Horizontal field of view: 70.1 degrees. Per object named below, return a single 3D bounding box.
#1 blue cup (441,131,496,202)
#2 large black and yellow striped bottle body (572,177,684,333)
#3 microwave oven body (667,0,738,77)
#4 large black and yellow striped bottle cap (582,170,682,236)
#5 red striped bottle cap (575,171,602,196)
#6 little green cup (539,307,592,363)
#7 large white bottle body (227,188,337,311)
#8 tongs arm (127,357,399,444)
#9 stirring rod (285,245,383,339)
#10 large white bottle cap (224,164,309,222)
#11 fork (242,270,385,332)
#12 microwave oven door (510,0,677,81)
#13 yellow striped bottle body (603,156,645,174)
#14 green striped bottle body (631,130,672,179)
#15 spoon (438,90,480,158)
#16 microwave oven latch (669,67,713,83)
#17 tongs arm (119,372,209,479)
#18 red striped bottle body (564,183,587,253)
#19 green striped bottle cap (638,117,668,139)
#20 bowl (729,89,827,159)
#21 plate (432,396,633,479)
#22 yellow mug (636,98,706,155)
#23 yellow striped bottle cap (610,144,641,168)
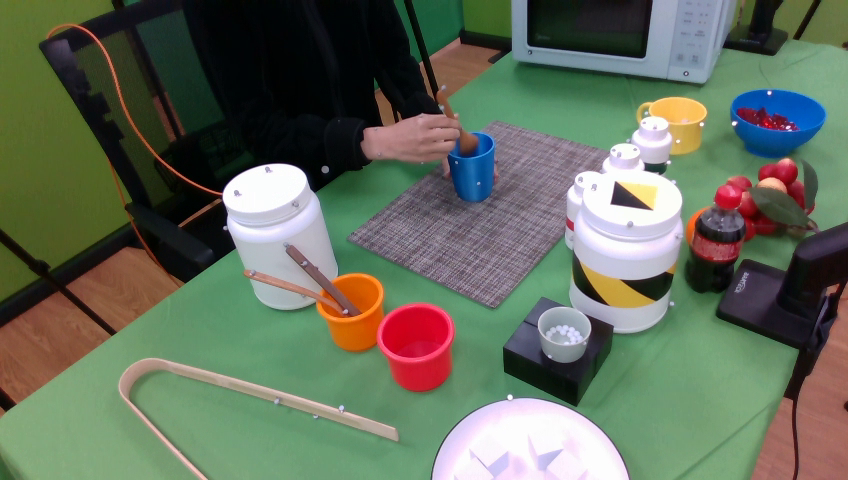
[{"bbox_3d":[0.083,-0.121,1.039,0.092,0.100,0.092,-4,42,4],"label":"blue cup"},{"bbox_3d":[0.262,0.017,0.788,0.131,0.185,0.130,-5,40,4],"label":"large black and yellow striped bottle body"},{"bbox_3d":[0.462,-0.552,1.368,0.439,0.261,0.326,14,45,26],"label":"microwave oven body"},{"bbox_3d":[0.252,-0.048,0.735,0.115,0.019,0.114,-3,40,3],"label":"large black and yellow striped bottle cap"},{"bbox_3d":[0.242,-0.081,0.876,0.044,0.018,0.044,-5,44,5],"label":"red striped bottle cap"},{"bbox_3d":[0.168,0.115,0.721,0.061,0.039,0.061,-4,42,4],"label":"little green cup"},{"bbox_3d":[-0.207,-0.002,0.883,0.130,0.185,0.130,-4,40,4],"label":"large white bottle body"},{"bbox_3d":[-0.213,0.205,0.755,0.382,0.026,0.051,12,45,23],"label":"tongs arm"},{"bbox_3d":[-0.121,0.071,0.819,0.176,0.006,0.014,44,52,-6],"label":"stirring rod"},{"bbox_3d":[-0.216,-0.066,0.829,0.115,0.018,0.114,-4,40,4],"label":"large white bottle cap"},{"bbox_3d":[-0.142,0.082,0.802,0.209,0.018,0.028,28,38,-26],"label":"fork"},{"bbox_3d":[0.354,-0.478,1.290,0.353,0.245,0.039,15,45,25],"label":"microwave oven door"},{"bbox_3d":[0.313,-0.089,0.956,0.063,0.121,0.062,-4,40,4],"label":"yellow striped bottle body"},{"bbox_3d":[0.375,-0.140,1.007,0.063,0.120,0.063,-5,40,4],"label":"green striped bottle body"},{"bbox_3d":[0.052,-0.178,0.948,0.041,0.195,0.021,-38,60,3],"label":"spoon"},{"bbox_3d":[0.556,-0.349,1.261,0.078,0.029,0.030,16,46,27],"label":"microwave oven latch"},{"bbox_3d":[-0.258,0.257,0.700,0.384,0.028,0.028,24,55,34],"label":"tongs arm"},{"bbox_3d":[0.246,-0.041,0.910,0.063,0.120,0.062,-2,38,2],"label":"red striped bottle body"},{"bbox_3d":[0.369,-0.180,0.974,0.044,0.020,0.044,-4,41,4],"label":"green striped bottle cap"},{"bbox_3d":[0.615,-0.197,1.069,0.151,0.077,0.150,-5,40,5],"label":"bowl"},{"bbox_3d":[0.112,0.261,0.634,0.209,0.038,0.208,-5,40,4],"label":"plate"},{"bbox_3d":[0.453,-0.217,1.128,0.100,0.064,0.129,-34,46,-27],"label":"yellow mug"},{"bbox_3d":[0.307,-0.128,0.923,0.044,0.019,0.044,-5,39,5],"label":"yellow striped bottle cap"}]
